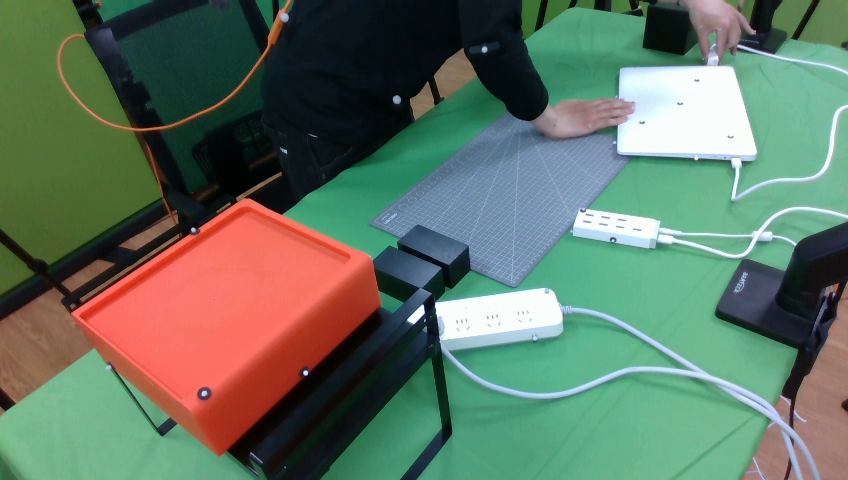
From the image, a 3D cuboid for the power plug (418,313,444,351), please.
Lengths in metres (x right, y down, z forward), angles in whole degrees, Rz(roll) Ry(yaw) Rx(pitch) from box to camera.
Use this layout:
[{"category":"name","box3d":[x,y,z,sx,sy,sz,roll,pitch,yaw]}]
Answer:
[{"category":"power plug","box3d":[0.007,0.127,0.786,0.035,0.053,0.072,0,43,8]}]

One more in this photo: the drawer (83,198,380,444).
[{"category":"drawer","box3d":[-0.184,0.066,0.600,0.193,0.073,0.212,24,50,31]}]

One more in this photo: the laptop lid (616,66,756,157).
[{"category":"laptop lid","box3d":[0.504,-0.265,1.196,0.241,0.013,0.356,4,41,17]}]

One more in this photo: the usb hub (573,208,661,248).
[{"category":"usb hub","box3d":[0.302,-0.019,0.950,0.124,0.025,0.049,11,43,20]}]

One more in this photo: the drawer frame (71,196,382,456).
[{"category":"drawer frame","box3d":[-0.186,0.068,0.597,0.200,0.083,0.214,23,49,30]}]

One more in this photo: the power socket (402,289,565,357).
[{"category":"power socket","box3d":[0.081,0.112,0.822,0.227,0.033,0.072,-7,41,0]}]

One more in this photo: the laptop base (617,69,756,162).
[{"category":"laptop base","box3d":[0.508,-0.255,1.204,0.235,0.023,0.353,3,41,16]}]

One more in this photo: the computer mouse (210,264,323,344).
[{"category":"computer mouse","box3d":[-0.164,0.062,0.624,0.116,0.041,0.063,22,44,27]}]

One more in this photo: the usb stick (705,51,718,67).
[{"category":"usb stick","box3d":[0.628,-0.388,1.320,0.021,0.027,0.059,10,45,17]}]
